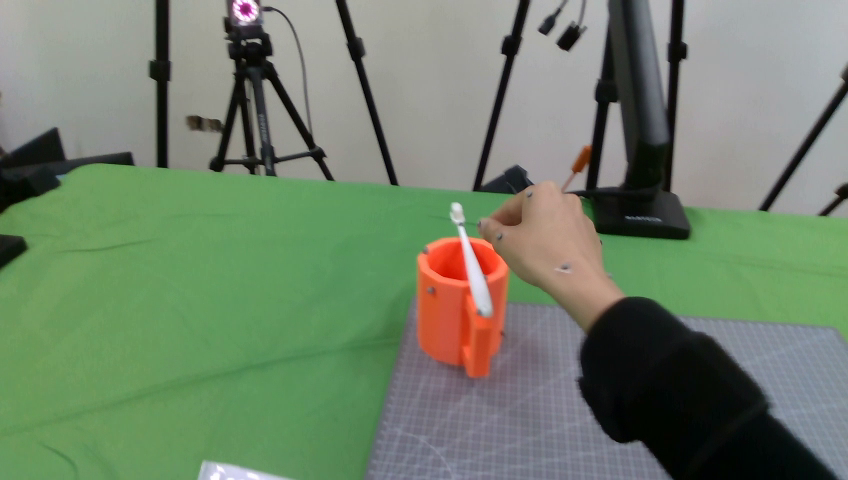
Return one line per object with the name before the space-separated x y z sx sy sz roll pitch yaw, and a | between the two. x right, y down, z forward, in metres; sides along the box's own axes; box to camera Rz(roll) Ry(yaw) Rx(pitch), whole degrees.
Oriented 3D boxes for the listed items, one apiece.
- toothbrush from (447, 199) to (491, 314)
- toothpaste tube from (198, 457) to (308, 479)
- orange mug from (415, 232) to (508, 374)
toothbrush | 0.040 0.009 0.564 0.014 0.017 0.180 -1 32 -6
toothpaste tube | -0.042 0.152 0.321 0.165 0.035 0.054 7 52 -2
orange mug | 0.038 0.063 0.576 0.083 0.101 0.125 -5 28 -9
